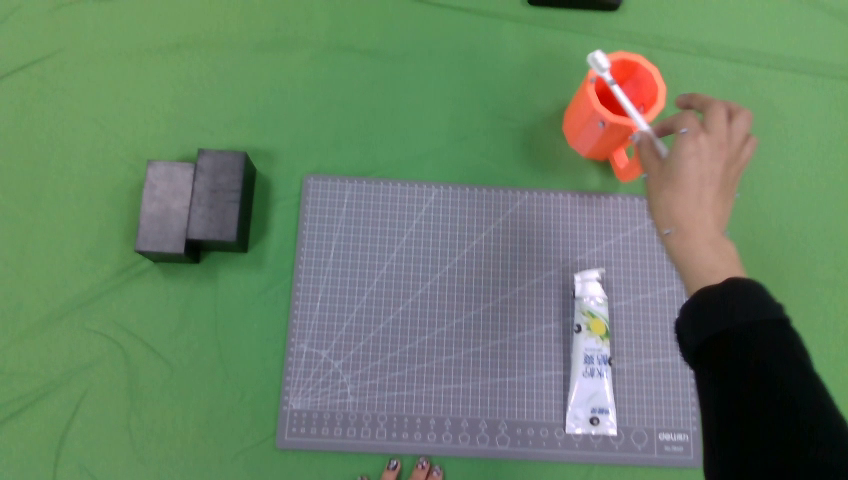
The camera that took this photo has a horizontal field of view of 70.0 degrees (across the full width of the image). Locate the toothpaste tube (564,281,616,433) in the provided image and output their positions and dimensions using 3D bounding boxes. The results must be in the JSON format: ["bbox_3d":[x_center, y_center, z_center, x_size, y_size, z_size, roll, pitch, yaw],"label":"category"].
[{"bbox_3d":[0.179,0.123,0.656,0.055,0.034,0.164,1,80,4],"label":"toothpaste tube"}]

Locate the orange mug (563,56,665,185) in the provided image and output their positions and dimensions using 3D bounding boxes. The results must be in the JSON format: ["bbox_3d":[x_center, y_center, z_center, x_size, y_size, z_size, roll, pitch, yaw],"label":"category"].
[{"bbox_3d":[0.219,-0.130,0.687,0.083,0.101,0.125,-18,73,-7],"label":"orange mug"}]

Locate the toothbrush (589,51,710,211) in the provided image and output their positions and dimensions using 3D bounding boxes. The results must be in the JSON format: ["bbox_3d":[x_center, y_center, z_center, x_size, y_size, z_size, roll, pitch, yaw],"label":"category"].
[{"bbox_3d":[0.212,-0.102,0.566,0.014,0.016,0.182,-36,90,-13],"label":"toothbrush"}]

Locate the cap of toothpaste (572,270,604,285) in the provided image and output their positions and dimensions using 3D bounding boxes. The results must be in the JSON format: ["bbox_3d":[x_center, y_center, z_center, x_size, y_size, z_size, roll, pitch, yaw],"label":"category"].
[{"bbox_3d":[0.183,0.043,0.670,0.037,0.037,0.011,-9,73,-6],"label":"cap of toothpaste"}]
